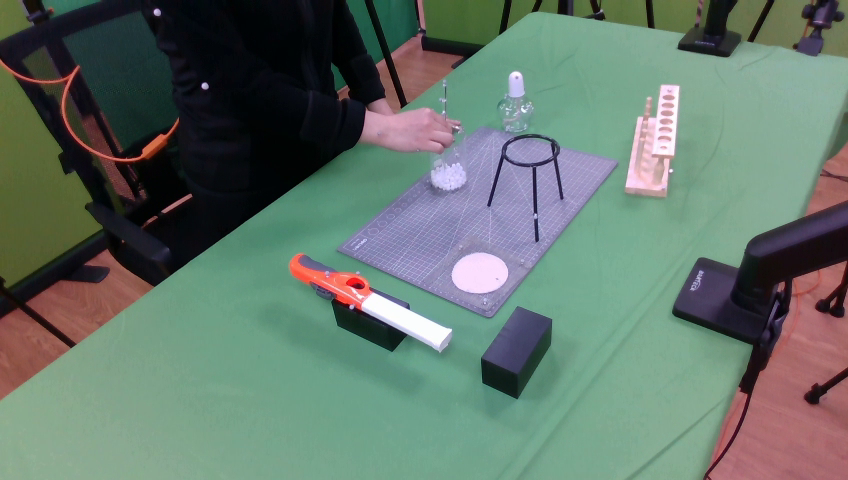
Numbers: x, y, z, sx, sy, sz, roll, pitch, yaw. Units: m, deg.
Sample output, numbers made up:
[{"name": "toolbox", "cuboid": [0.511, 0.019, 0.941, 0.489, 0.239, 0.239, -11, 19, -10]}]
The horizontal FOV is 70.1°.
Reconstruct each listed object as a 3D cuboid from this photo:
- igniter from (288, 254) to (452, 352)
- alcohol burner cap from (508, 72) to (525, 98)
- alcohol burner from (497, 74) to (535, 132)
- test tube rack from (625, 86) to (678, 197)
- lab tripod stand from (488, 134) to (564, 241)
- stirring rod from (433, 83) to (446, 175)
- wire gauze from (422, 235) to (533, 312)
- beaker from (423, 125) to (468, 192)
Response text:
[{"name": "igniter", "cuboid": [-0.083, 0.079, 0.818, 0.274, 0.025, 0.057, 23, 46, 27]}, {"name": "alcohol burner cap", "cuboid": [0.181, -0.306, 1.186, 0.034, 0.048, 0.033, -7, 39, 6]}, {"name": "alcohol burner", "cuboid": [0.184, -0.278, 1.210, 0.078, 0.119, 0.077, -3, 43, 3]}, {"name": "test tube rack", "cuboid": [0.412, -0.184, 1.088, 0.066, 0.085, 0.242, 9, 43, 18]}, {"name": "lab tripod stand", "cuboid": [0.168, -0.092, 0.972, 0.148, 0.132, 0.147, -5, 41, 5]}, {"name": "stirring rod", "cuboid": [0.025, -0.184, 1.024, 0.006, 0.176, 0.014, 15, 43, 10]}, {"name": "wire gauze", "cuboid": [0.081, 0.049, 0.914, 0.120, 0.011, 0.125, 26, 52, 32]}, {"name": "beaker", "cuboid": [0.042, -0.144, 1.078, 0.073, 0.100, 0.084, 28, 51, 34]}]
